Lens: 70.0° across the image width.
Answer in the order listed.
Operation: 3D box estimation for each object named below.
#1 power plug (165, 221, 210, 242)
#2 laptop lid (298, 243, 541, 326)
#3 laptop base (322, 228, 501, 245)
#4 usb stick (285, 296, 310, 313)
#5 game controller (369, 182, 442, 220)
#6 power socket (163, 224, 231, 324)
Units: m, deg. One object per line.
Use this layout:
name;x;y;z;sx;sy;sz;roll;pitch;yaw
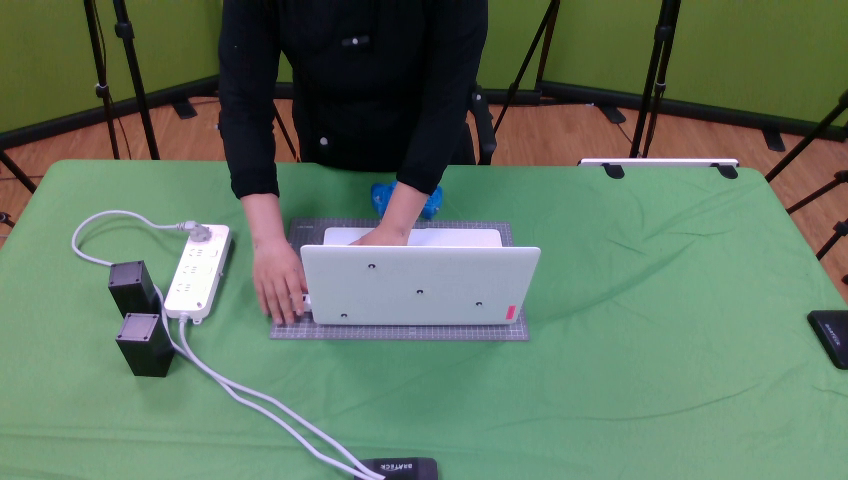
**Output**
power plug;-0.440;-0.015;1.143;0.072;0.053;0.035;7;46;8
laptop lid;-0.009;0.077;0.957;0.357;0.243;0.013;1;53;-5
laptop base;-0.020;0.065;1.136;0.355;0.023;0.234;0;43;-4
usb stick;-0.211;0.113;1.060;0.059;0.027;0.021;2;42;1
game controller;-0.039;-0.091;1.267;0.155;0.052;0.096;2;51;-2
power socket;-0.410;0.053;1.106;0.072;0.033;0.225;3;46;-3
